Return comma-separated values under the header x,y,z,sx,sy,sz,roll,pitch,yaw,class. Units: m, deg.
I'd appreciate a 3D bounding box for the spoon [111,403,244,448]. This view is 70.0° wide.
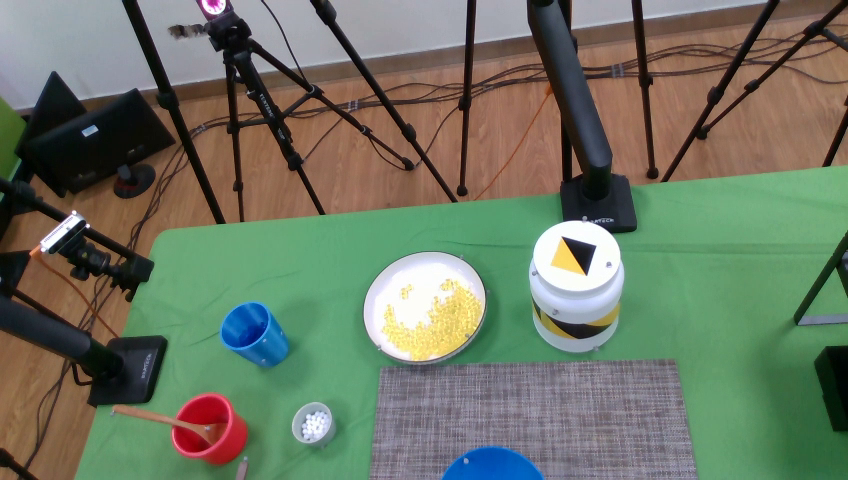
x,y,z,sx,sy,sz,roll,pitch,yaw,class
-0.367,0.273,0.910,0.195,0.021,0.041,25,57,-23,spoon

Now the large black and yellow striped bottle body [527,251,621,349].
x,y,z,sx,sy,sz,roll,pitch,yaw,class
0.219,0.067,0.891,0.130,0.186,0.129,-6,55,9,large black and yellow striped bottle body

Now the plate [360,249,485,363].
x,y,z,sx,sy,sz,roll,pitch,yaw,class
-0.002,0.110,1.003,0.209,0.038,0.207,-6,56,9,plate

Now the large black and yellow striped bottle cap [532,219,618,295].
x,y,z,sx,sy,sz,roll,pitch,yaw,class
0.204,0.021,0.822,0.115,0.019,0.114,-7,55,10,large black and yellow striped bottle cap

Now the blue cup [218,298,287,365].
x,y,z,sx,sy,sz,roll,pitch,yaw,class
-0.272,0.158,0.992,0.092,0.101,0.092,-7,56,10,blue cup

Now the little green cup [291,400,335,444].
x,y,z,sx,sy,sz,roll,pitch,yaw,class
-0.166,0.280,0.923,0.061,0.039,0.061,-6,55,10,little green cup

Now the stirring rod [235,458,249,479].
x,y,z,sx,sy,sz,roll,pitch,yaw,class
-0.258,0.380,0.804,0.014,0.006,0.174,-4,55,12,stirring rod

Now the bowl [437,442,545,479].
x,y,z,sx,sy,sz,roll,pitch,yaw,class
0.091,0.350,0.788,0.151,0.077,0.150,-6,56,9,bowl
